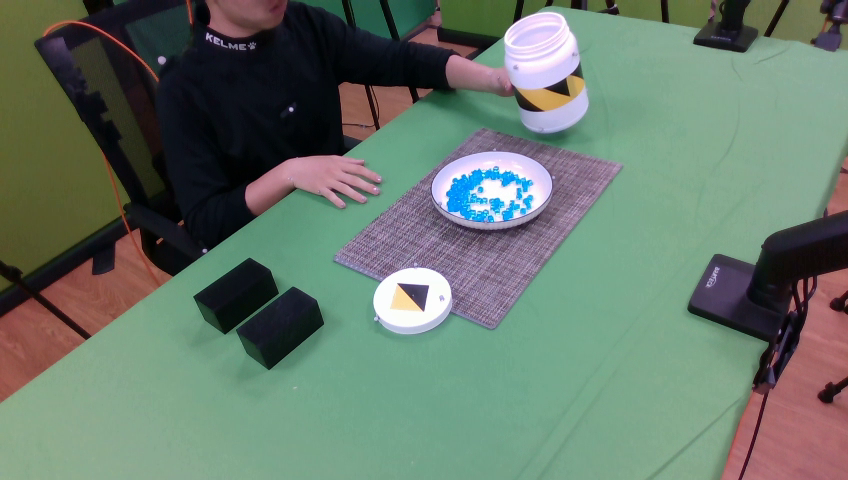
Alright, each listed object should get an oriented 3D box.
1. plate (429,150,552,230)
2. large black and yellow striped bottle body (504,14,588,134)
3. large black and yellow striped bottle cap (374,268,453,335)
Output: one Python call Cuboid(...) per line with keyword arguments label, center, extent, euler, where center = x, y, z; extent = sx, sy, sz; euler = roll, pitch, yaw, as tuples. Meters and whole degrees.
Cuboid(label="plate", center=(0.113, -0.082, 1.032), extent=(0.207, 0.039, 0.206), euler=(-4, 41, 4))
Cuboid(label="large black and yellow striped bottle body", center=(0.223, -0.305, 1.113), extent=(0.130, 0.185, 0.130), euler=(-14, 44, 14))
Cuboid(label="large black and yellow striped bottle cap", center=(-0.015, 0.087, 0.871), extent=(0.115, 0.019, 0.114), euler=(-6, 43, 6))
